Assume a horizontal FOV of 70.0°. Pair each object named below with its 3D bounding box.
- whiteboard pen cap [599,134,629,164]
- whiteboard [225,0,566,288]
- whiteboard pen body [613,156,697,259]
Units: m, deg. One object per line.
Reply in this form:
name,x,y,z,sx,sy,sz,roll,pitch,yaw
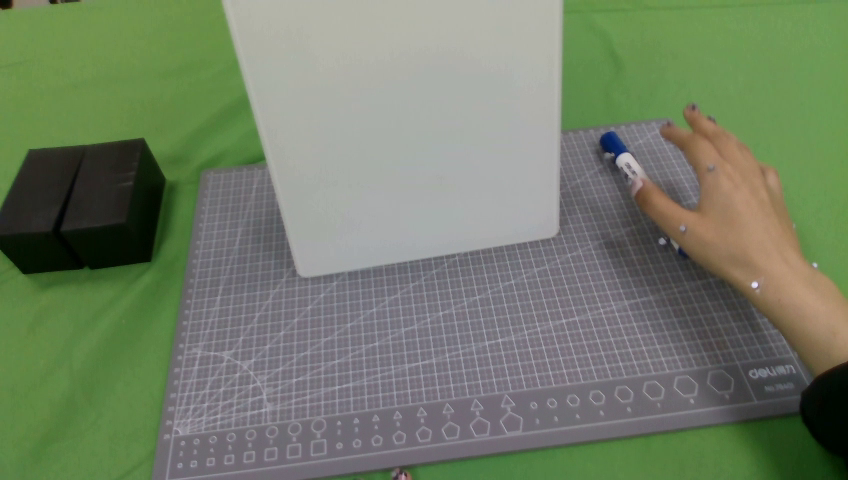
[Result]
whiteboard pen cap,0.173,-0.080,0.552,0.018,0.018,0.033,-12,49,-7
whiteboard,-0.018,-0.143,0.467,0.217,0.308,0.142,-8,31,-3
whiteboard pen body,0.188,-0.038,0.513,0.017,0.017,0.139,-13,49,-8
